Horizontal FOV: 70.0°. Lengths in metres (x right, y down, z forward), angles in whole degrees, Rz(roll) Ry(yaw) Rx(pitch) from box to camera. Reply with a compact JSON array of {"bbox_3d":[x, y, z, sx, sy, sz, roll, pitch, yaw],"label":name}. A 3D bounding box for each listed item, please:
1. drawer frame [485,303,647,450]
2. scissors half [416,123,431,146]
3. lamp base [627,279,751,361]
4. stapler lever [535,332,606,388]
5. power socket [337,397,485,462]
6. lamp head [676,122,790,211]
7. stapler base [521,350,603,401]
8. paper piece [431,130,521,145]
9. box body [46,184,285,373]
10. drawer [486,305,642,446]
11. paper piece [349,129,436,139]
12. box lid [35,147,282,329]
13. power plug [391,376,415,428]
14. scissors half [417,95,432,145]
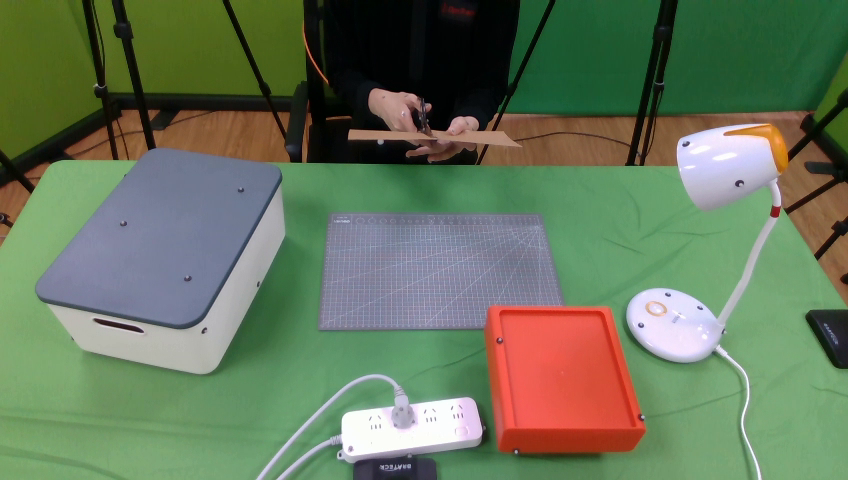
[{"bbox_3d":[0.204,0.202,0.917,0.202,0.083,0.212,1,47,-4],"label":"drawer frame"},{"bbox_3d":[0.001,-0.187,1.064,0.013,0.040,0.175,-1,6,-7],"label":"scissors half"},{"bbox_3d":[0.460,0.100,1.027,0.178,0.181,0.160,27,51,17],"label":"lamp base"},{"bbox_3d":[0.225,0.182,0.929,0.118,0.040,0.027,27,34,15],"label":"stapler lever"},{"bbox_3d":[-0.018,0.285,0.915,0.227,0.033,0.071,-4,46,-8],"label":"power socket"},{"bbox_3d":[0.423,-0.104,0.819,0.122,0.113,0.112,-13,33,40],"label":"lamp head"},{"bbox_3d":[0.217,0.203,0.942,0.130,0.024,0.041,26,34,16],"label":"stapler base"},{"bbox_3d":[0.079,-0.168,0.984,0.136,0.008,0.137,6,15,-8],"label":"paper piece"},{"bbox_3d":[-0.414,0.029,1.039,0.254,0.161,0.362,10,46,5],"label":"box body"},{"bbox_3d":[0.202,0.200,0.919,0.195,0.073,0.210,2,47,-4],"label":"drawer"},{"bbox_3d":[-0.051,-0.170,0.967,0.135,0.004,0.135,0,16,-3],"label":"paper piece"},{"bbox_3d":[-0.411,-0.023,0.987,0.263,0.015,0.369,10,47,5],"label":"box lid"},{"bbox_3d":[-0.030,0.249,0.917,0.035,0.053,0.072,3,46,0],"label":"power plug"},{"bbox_3d":[0.001,-0.209,1.055,0.013,0.040,0.174,-5,39,-5],"label":"scissors half"}]
